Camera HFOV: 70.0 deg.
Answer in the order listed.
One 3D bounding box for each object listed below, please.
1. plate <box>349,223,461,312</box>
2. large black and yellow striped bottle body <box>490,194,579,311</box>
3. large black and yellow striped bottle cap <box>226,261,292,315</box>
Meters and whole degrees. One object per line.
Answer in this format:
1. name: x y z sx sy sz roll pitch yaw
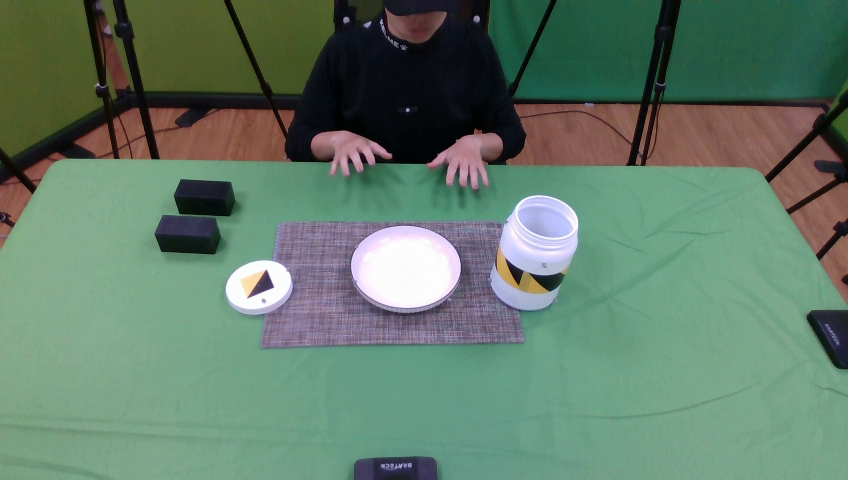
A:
1. plate: -0.035 0.054 1.126 0.208 0.039 0.206 2 46 -2
2. large black and yellow striped bottle body: 0.196 0.022 1.073 0.131 0.185 0.130 4 46 -4
3. large black and yellow striped bottle cap: -0.298 0.085 1.092 0.115 0.019 0.114 0 45 1
